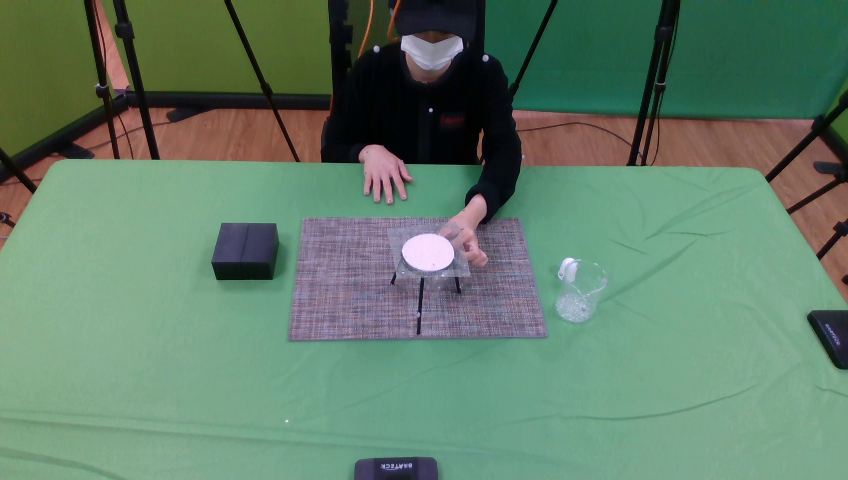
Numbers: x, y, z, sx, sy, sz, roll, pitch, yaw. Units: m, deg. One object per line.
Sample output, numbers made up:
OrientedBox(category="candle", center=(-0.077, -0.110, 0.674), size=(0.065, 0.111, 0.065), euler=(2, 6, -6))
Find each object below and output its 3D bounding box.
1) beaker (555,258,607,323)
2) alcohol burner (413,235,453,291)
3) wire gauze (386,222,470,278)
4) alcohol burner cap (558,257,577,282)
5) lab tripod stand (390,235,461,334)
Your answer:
OrientedBox(category="beaker", center=(0.275, 0.094, 1.073), size=(0.074, 0.101, 0.083), euler=(10, 47, 6))
OrientedBox(category="alcohol burner", center=(0.018, 0.036, 1.094), size=(0.078, 0.120, 0.077), euler=(1, 45, -1))
OrientedBox(category="wire gauze", center=(0.004, 0.017, 1.005), size=(0.125, 0.011, 0.120), euler=(-5, 46, -8))
OrientedBox(category="alcohol burner cap", center=(0.276, 0.053, 1.154), size=(0.034, 0.048, 0.033), euler=(2, 46, -1))
OrientedBox(category="lab tripod stand", center=(-0.002, 0.067, 1.050), size=(0.148, 0.132, 0.147), euler=(1, 47, -1))
